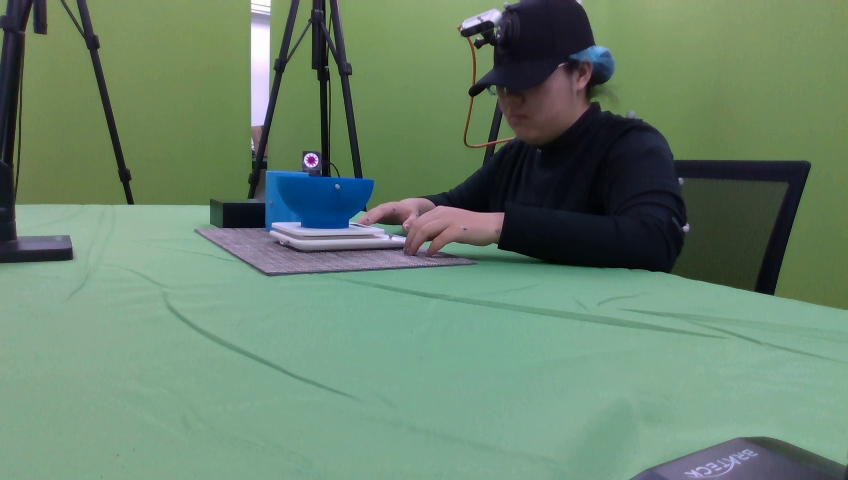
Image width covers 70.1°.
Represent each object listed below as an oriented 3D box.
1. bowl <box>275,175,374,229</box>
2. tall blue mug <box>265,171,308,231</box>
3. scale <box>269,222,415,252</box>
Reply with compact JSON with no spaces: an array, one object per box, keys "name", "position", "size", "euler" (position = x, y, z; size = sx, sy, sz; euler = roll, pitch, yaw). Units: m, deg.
[{"name":"bowl","position":[-0.153,-0.059,0.933],"size":[0.151,0.077,0.151],"euler":[2,7,0]},{"name":"tall blue mug","position":[-0.248,-0.073,1.121],"size":[0.078,0.108,0.107],"euler":[3,8,8]},{"name":"scale","position":[-0.130,-0.008,0.958],"size":[0.202,0.031,0.148],"euler":[-1,9,-32]}]
